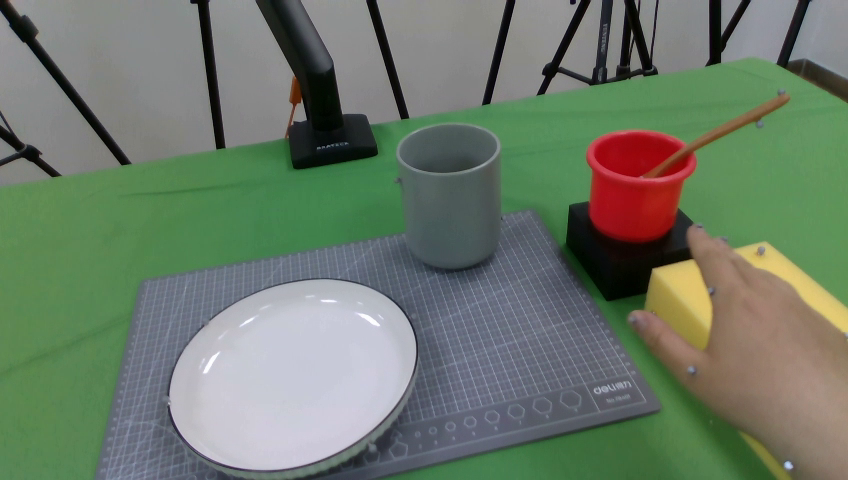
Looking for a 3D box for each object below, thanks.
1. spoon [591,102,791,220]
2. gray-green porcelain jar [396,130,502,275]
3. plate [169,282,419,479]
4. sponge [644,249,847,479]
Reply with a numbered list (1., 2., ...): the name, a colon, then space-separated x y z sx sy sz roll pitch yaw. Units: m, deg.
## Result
1. spoon: 0.240 -0.070 0.563 0.194 0.022 0.041 -37 22 35
2. gray-green porcelain jar: 0.029 -0.035 0.633 0.106 0.127 0.105 -3 37 3
3. plate: -0.106 0.117 0.521 0.207 0.039 0.205 -3 37 3
4. sponge: 0.289 0.099 0.487 0.118 0.061 0.204 -13 37 -11
